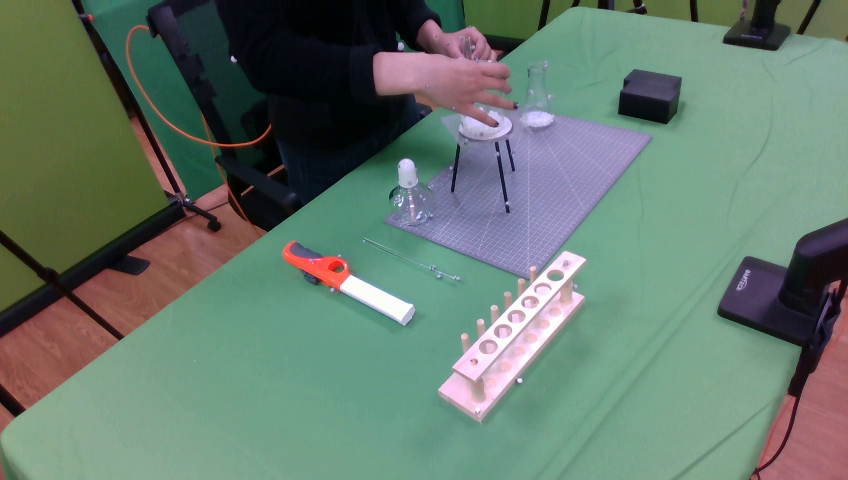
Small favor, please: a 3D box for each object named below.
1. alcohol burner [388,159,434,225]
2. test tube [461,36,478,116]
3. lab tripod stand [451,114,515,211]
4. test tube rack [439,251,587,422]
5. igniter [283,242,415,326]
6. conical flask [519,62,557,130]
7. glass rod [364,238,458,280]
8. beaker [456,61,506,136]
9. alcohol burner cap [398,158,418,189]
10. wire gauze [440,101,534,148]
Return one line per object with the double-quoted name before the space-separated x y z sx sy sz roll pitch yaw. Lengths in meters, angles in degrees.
"alcohol burner" -0.023 -0.084 1.013 0.078 0.119 0.077 -4 39 4
"test tube" 0.081 -0.287 1.068 0.017 0.151 0.017 -6 42 6
"lab tripod stand" 0.113 -0.140 1.037 0.148 0.132 0.147 -6 38 5
"test tube rack" 0.118 0.111 0.780 0.066 0.085 0.243 26 51 35
"igniter" -0.126 0.062 0.931 0.274 0.025 0.057 23 60 33
"conical flask" 0.225 -0.287 1.198 0.075 0.122 0.075 -6 40 5
"glass rod" -0.026 0.029 0.966 0.198 0.008 0.008 21 49 35
"beaker" 0.090 -0.224 0.963 0.074 0.101 0.083 -26 42 -21
"alcohol burner cap" -0.027 -0.111 0.989 0.034 0.048 0.033 -3 47 4
"wire gauze" 0.100 -0.189 0.995 0.125 0.011 0.120 -16 38 -6
